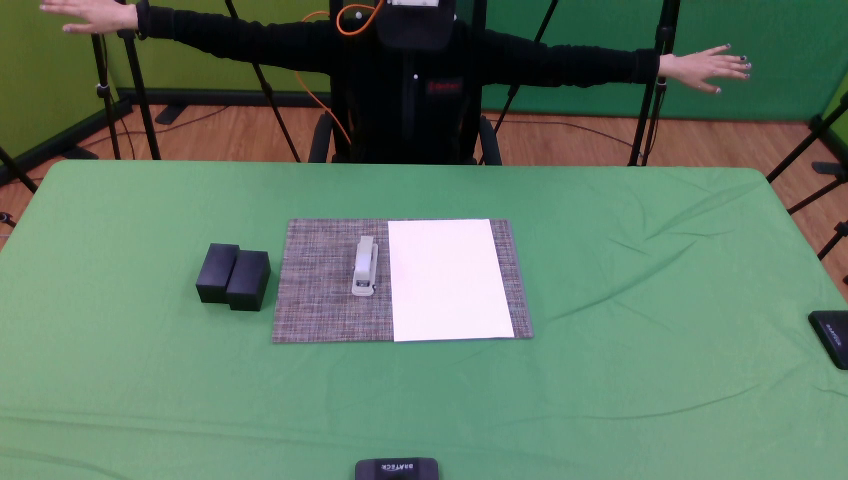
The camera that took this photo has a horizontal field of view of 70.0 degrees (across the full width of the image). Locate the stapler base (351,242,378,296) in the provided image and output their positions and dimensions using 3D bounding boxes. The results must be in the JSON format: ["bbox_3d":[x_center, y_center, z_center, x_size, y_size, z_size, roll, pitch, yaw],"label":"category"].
[{"bbox_3d":[-0.112,0.047,1.139,0.041,0.024,0.130,5,45,-4],"label":"stapler base"}]

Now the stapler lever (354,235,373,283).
[{"bbox_3d":[-0.110,0.029,1.122,0.027,0.040,0.117,5,45,-3],"label":"stapler lever"}]
